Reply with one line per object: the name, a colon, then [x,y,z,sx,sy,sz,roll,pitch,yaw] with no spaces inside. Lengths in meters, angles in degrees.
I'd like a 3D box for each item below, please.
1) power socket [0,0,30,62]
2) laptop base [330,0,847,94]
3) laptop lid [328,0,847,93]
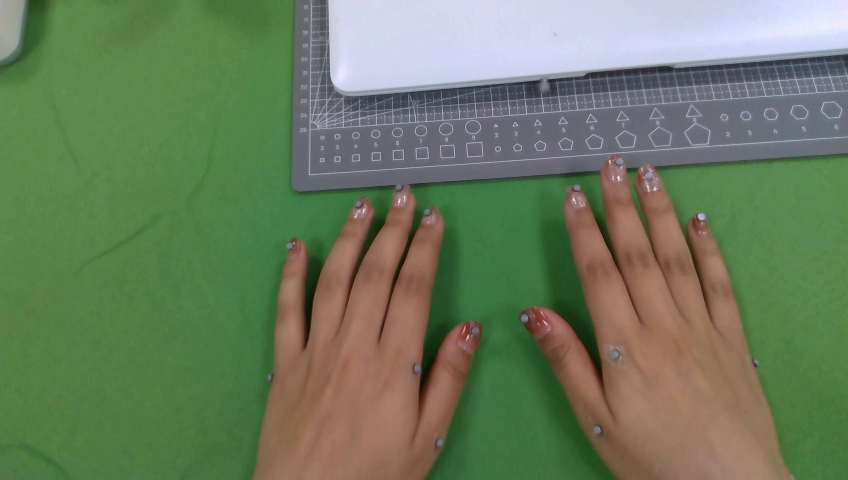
power socket: [-0.306,-0.213,0.412,0.072,0.033,0.225,-6,71,0]
laptop base: [0.113,-0.209,0.395,0.354,0.023,0.234,-5,75,2]
laptop lid: [0.112,-0.211,0.384,0.357,0.013,0.240,-3,73,2]
